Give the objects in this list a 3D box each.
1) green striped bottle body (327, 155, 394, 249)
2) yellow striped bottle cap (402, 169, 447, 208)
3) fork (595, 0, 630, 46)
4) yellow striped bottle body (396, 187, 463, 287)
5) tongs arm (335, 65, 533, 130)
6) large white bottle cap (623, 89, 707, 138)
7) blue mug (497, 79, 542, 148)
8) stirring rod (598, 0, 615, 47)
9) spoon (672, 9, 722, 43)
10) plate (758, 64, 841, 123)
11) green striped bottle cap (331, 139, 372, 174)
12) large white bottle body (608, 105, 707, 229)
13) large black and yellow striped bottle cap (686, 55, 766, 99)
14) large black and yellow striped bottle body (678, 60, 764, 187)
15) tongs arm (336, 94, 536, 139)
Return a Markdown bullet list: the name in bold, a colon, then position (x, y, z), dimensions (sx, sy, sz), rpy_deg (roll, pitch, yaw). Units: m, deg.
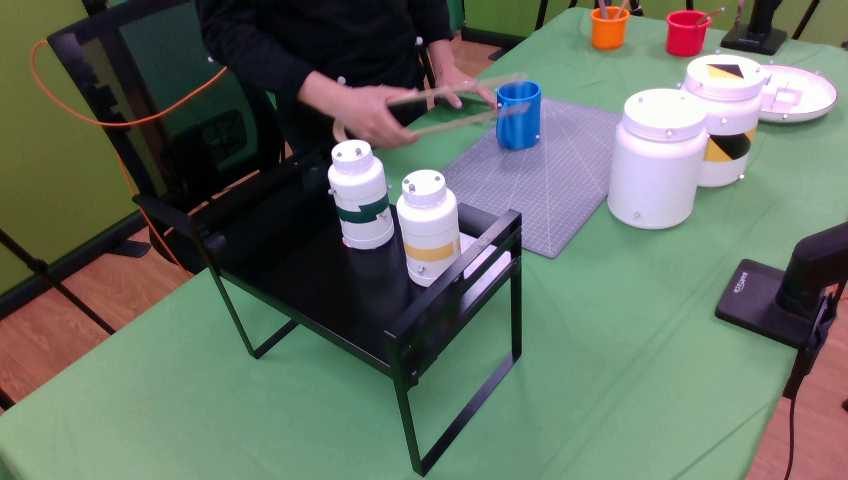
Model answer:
- **green striped bottle body**: position (-0.073, -0.053, 0.699), dimensions (0.063, 0.120, 0.063), rpy_deg (-5, 41, 4)
- **yellow striped bottle cap**: position (0.000, -0.052, 0.605), dimensions (0.044, 0.019, 0.044), rpy_deg (-5, 42, 5)
- **fork**: position (0.480, -0.556, 1.453), dimensions (0.028, 0.019, 0.207), rpy_deg (41, 103, 40)
- **yellow striped bottle body**: position (0.006, -0.013, 0.638), dimensions (0.063, 0.121, 0.062), rpy_deg (-5, 41, 4)
- **tongs arm**: position (0.000, -0.227, 0.986), dimensions (0.382, 0.051, 0.027), rpy_deg (0, 9, 36)
- **large white bottle cap**: position (0.352, -0.187, 0.886), dimensions (0.115, 0.018, 0.114), rpy_deg (-4, 41, 4)
- **blue mug**: position (0.175, -0.234, 1.156), dimensions (0.081, 0.106, 0.117), rpy_deg (24, 50, 32)
- **stirring rod**: position (0.437, -0.551, 1.462), dimensions (0.014, 0.006, 0.175), rpy_deg (-11, 83, 1)
- **spoon**: position (0.606, -0.476, 1.345), dimensions (0.042, 0.021, 0.193), rpy_deg (-6, -3, -2)
- **plate**: position (0.694, -0.283, 1.189), dimensions (0.207, 0.039, 0.206), rpy_deg (-4, 40, 4)
- **green striped bottle cap**: position (-0.080, -0.092, 0.665), dimensions (0.044, 0.020, 0.044), rpy_deg (-3, 41, 3)
- **large white bottle body**: position (0.361, -0.124, 0.941), dimensions (0.130, 0.185, 0.130), rpy_deg (-5, 41, 4)
- **large black and yellow striped bottle cap**: position (0.474, -0.258, 0.952), dimensions (0.115, 0.019, 0.114), rpy_deg (-5, 41, 5)
- **large black and yellow striped bottle body**: position (0.482, -0.196, 1.008), dimensions (0.131, 0.185, 0.130), rpy_deg (-4, 41, 4)
- **tongs arm**: position (0.004, -0.200, 0.988), dimensions (0.385, 0.028, 0.028), rpy_deg (-4, 10, 36)
